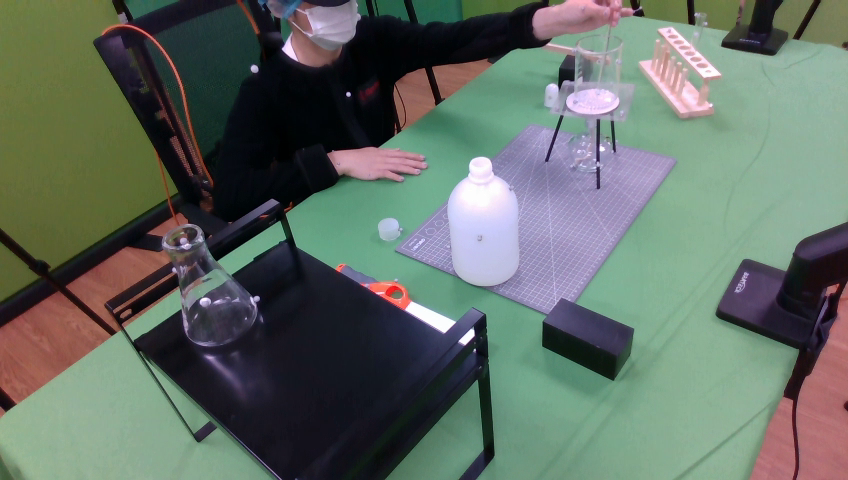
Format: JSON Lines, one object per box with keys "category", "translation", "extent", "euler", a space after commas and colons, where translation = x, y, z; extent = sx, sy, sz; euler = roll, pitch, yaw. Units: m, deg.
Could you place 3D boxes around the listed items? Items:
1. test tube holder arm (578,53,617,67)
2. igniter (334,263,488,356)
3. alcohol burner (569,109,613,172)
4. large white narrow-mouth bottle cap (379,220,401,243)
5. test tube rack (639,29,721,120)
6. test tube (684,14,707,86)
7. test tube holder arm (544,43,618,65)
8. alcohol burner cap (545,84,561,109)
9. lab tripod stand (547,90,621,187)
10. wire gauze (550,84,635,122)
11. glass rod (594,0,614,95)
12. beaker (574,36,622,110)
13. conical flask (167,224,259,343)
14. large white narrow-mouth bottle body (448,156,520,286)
{"category": "test tube holder arm", "translation": [0.376, -0.394, 1.314], "extent": [0.087, 0.015, 0.010], "euler": [26, 49, 32]}
{"category": "igniter", "translation": [-0.030, 0.095, 0.872], "extent": [0.274, 0.025, 0.057], "euler": [23, 59, 31]}
{"category": "alcohol burner", "translation": [0.297, -0.181, 1.073], "extent": [0.078, 0.119, 0.077], "euler": [-5, 43, 5]}
{"category": "large white narrow-mouth bottle cap", "translation": [-0.057, -0.015, 1.011], "extent": [0.038, 0.024, 0.037], "euler": [-4, 40, 4]}
{"category": "test tube rack", "translation": [0.527, -0.351, 1.262], "extent": [0.067, 0.085, 0.241], "euler": [-8, 40, 1]}
{"category": "test tube", "translation": [0.541, -0.379, 1.216], "extent": [0.017, 0.151, 0.017], "euler": [-2, 44, 3]}
{"category": "test tube holder arm", "translation": [0.345, -0.413, 1.341], "extent": [0.177, 0.015, 0.013], "euler": [26, 49, 32]}
{"category": "alcohol burner cap", "translation": [0.274, -0.308, 1.285], "extent": [0.034, 0.048, 0.033], "euler": [-5, 42, 5]}
{"category": "lab tripod stand", "translation": [0.289, -0.184, 1.062], "extent": [0.148, 0.132, 0.147], "euler": [-6, 41, 6]}
{"category": "wire gauze", "translation": [0.285, -0.234, 1.021], "extent": [0.124, 0.011, 0.121], "euler": [8, 41, 24]}
{"category": "glass rod", "translation": [0.287, -0.324, 0.950], "extent": [0.008, 0.200, 0.008], "euler": [0, 35, 0]}
{"category": "beaker", "translation": [0.285, -0.273, 0.990], "extent": [0.073, 0.101, 0.084], "euler": [15, 46, 28]}
{"category": "conical flask", "translation": [-0.220, 0.041, 0.613], "extent": [0.075, 0.122, 0.075], "euler": [-5, 40, 4]}
{"category": "large white narrow-mouth bottle body", "translation": [0.086, -0.032, 0.869], "extent": [0.102, 0.195, 0.101], "euler": [-4, 40, 4]}
